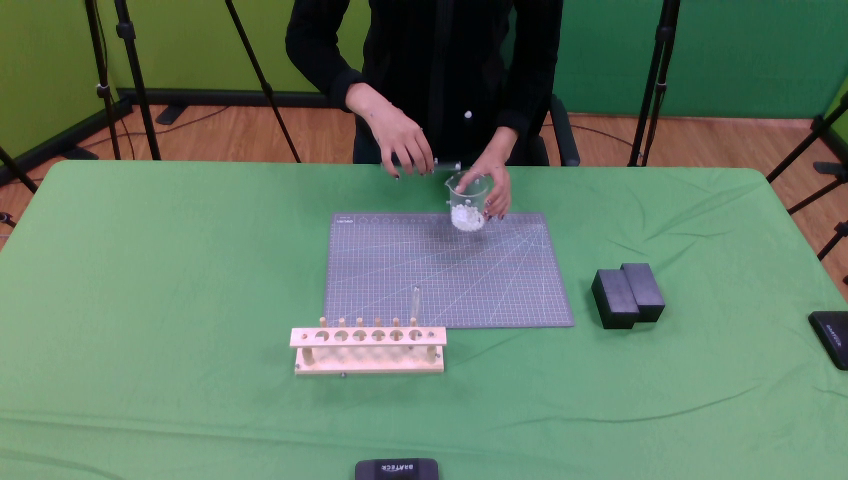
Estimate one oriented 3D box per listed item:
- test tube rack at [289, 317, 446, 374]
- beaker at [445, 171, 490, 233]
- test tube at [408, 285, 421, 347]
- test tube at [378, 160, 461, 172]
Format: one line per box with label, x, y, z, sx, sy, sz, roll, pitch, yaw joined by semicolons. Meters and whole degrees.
test tube rack;-0.089;0.167;0.987;0.242;0.085;0.066;0;46;-4
beaker;0.082;-0.069;1.149;0.084;0.101;0.073;7;46;10
test tube;-0.016;0.124;0.973;0.017;0.151;0.017;3;46;-2
test tube;-0.008;-0.134;1.095;0.150;0.017;0.017;-3;46;-2
